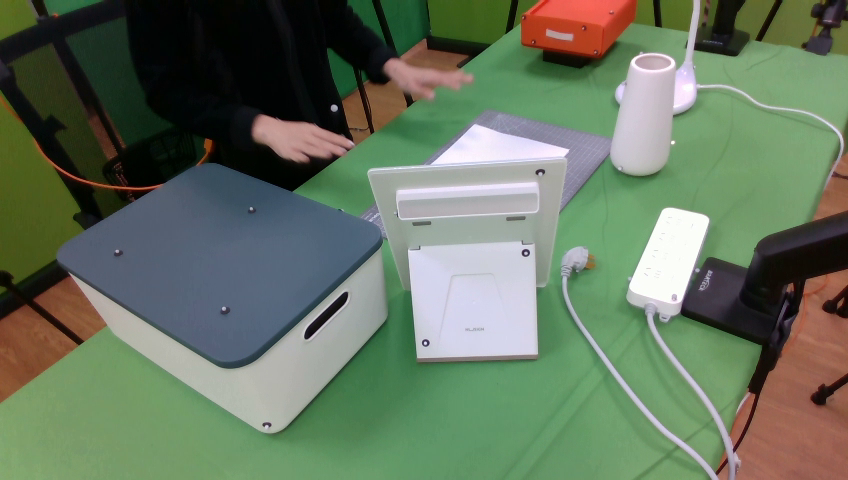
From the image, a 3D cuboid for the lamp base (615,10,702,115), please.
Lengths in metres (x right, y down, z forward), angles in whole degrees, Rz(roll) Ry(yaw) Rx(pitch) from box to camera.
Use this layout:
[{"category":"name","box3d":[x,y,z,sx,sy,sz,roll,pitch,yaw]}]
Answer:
[{"category":"lamp base","box3d":[0.484,-0.363,1.211,0.180,0.181,0.159,-15,41,-14]}]

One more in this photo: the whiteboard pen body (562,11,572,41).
[{"category":"whiteboard pen body","box3d":[0.339,-0.505,1.431,0.017,0.017,0.140,0,44,8]}]

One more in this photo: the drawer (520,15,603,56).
[{"category":"drawer","box3d":[0.359,-0.517,1.416,0.193,0.073,0.212,20,47,29]}]

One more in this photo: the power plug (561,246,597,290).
[{"category":"power plug","box3d":[0.228,0.044,0.897,0.053,0.035,0.072,15,82,-9]}]

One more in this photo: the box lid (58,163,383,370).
[{"category":"box lid","box3d":[-0.262,0.010,0.777,0.369,0.015,0.264,21,47,29]}]

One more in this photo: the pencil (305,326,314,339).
[{"category":"pencil","box3d":[-0.187,0.106,0.880,0.012,0.012,0.192,-27,41,-22]}]

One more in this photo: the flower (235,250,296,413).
[{"category":"flower","box3d":[-0.244,0.109,0.870,0.044,0.038,0.358,11,25,-32]}]

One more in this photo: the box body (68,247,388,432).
[{"category":"box body","box3d":[-0.256,0.065,0.826,0.361,0.161,0.255,20,48,29]}]

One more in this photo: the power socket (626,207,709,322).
[{"category":"power socket","box3d":[0.360,0.026,0.886,0.072,0.033,0.227,17,46,26]}]

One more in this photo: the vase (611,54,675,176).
[{"category":"vase","box3d":[0.377,-0.209,1.031,0.098,0.201,0.097,-4,40,3]}]

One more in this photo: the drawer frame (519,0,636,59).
[{"category":"drawer frame","box3d":[0.362,-0.518,1.423,0.200,0.083,0.214,19,48,29]}]

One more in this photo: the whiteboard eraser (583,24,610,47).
[{"category":"whiteboard eraser","box3d":[0.407,-0.479,1.423,0.055,0.042,0.113,-2,9,21]}]

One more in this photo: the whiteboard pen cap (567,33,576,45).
[{"category":"whiteboard pen cap","box3d":[0.339,-0.463,1.390,0.018,0.018,0.033,-2,44,5]}]

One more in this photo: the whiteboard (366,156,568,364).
[{"category":"whiteboard","box3d":[0.059,0.050,0.738,0.217,0.307,0.143,-2,60,6]}]
